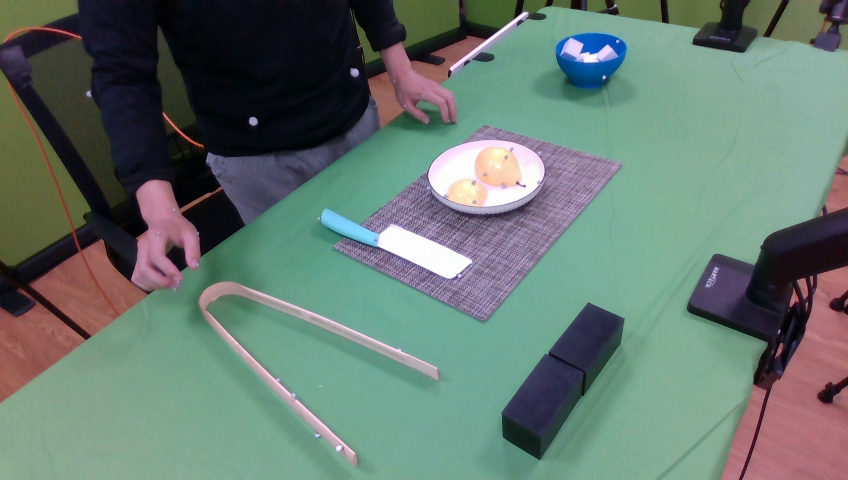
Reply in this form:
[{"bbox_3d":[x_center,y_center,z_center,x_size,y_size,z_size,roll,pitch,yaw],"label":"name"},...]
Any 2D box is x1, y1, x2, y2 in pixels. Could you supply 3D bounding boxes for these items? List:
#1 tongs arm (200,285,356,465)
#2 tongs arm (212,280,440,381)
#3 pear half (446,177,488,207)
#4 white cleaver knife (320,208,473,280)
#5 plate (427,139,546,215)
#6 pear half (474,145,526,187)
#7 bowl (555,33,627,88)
[{"bbox_3d":[-0.199,0.162,0.797,0.381,0.026,0.051,28,50,35],"label":"tongs arm"},{"bbox_3d":[-0.147,0.121,0.846,0.385,0.028,0.028,17,48,25],"label":"tongs arm"},{"bbox_3d":[0.073,-0.086,1.033,0.070,0.031,0.087,-20,36,-9],"label":"pear half"},{"bbox_3d":[-0.053,0.001,0.978,0.284,0.021,0.066,23,40,26],"label":"white cleaver knife"},{"bbox_3d":[0.109,-0.107,1.058,0.207,0.039,0.206,-4,41,4],"label":"plate"},{"bbox_3d":[0.140,-0.129,1.059,0.076,0.056,0.109,-37,53,-25],"label":"pear half"},{"bbox_3d":[0.360,-0.384,1.317,0.151,0.077,0.150,-4,41,4],"label":"bowl"}]
